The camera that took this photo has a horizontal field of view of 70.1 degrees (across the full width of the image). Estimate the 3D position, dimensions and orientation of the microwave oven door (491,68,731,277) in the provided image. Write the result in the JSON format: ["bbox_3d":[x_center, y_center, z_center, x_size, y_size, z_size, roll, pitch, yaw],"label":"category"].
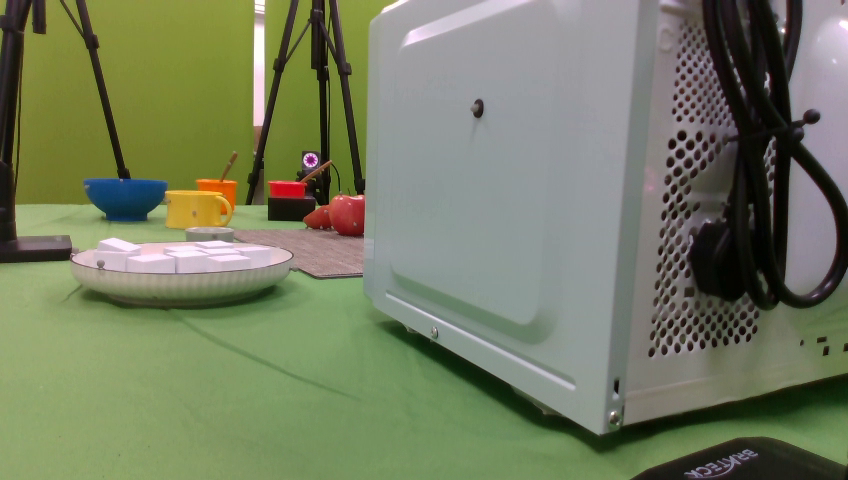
[{"bbox_3d":[0.230,-0.098,0.835,0.039,0.243,0.354,-3,9,-37],"label":"microwave oven door"}]

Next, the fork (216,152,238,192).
[{"bbox_3d":[-0.455,-0.132,1.367,0.028,0.018,0.207,-2,-35,-37],"label":"fork"}]

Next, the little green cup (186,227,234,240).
[{"bbox_3d":[-0.285,0.005,0.805,0.061,0.038,0.061,2,8,0],"label":"little green cup"}]

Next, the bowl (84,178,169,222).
[{"bbox_3d":[-0.584,-0.078,1.194,0.151,0.077,0.151,3,8,0],"label":"bowl"}]

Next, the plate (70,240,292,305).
[{"bbox_3d":[-0.242,0.031,0.618,0.208,0.039,0.207,2,8,0],"label":"plate"}]

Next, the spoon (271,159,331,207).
[{"bbox_3d":[-0.308,-0.142,1.514,0.193,0.021,0.041,-41,3,8],"label":"spoon"}]

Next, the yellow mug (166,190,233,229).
[{"bbox_3d":[-0.415,-0.057,1.131,0.130,0.064,0.100,6,8,16],"label":"yellow mug"}]

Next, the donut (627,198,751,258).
[{"bbox_3d":[0.226,-0.010,0.520,0.099,0.048,0.099,4,6,0],"label":"donut"}]

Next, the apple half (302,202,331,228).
[{"bbox_3d":[-0.193,-0.044,1.169,0.081,0.032,0.081,-24,-12,-5],"label":"apple half"}]

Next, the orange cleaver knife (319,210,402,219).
[{"bbox_3d":[-0.142,-0.057,1.394,0.077,0.012,0.212,1,6,44],"label":"orange cleaver knife"}]

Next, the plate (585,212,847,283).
[{"bbox_3d":[0.242,0.003,0.513,0.209,0.038,0.209,2,8,0],"label":"plate"}]

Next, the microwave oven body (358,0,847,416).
[{"bbox_3d":[0.211,-0.047,0.474,0.444,0.260,0.324,-1,7,-28],"label":"microwave oven body"}]

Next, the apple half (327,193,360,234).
[{"bbox_3d":[-0.132,-0.046,1.087,0.081,0.074,0.053,5,10,-13],"label":"apple half"}]

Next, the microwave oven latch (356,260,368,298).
[{"bbox_3d":[-0.020,0.033,0.530,0.079,0.029,0.030,0,7,-26],"label":"microwave oven latch"}]
